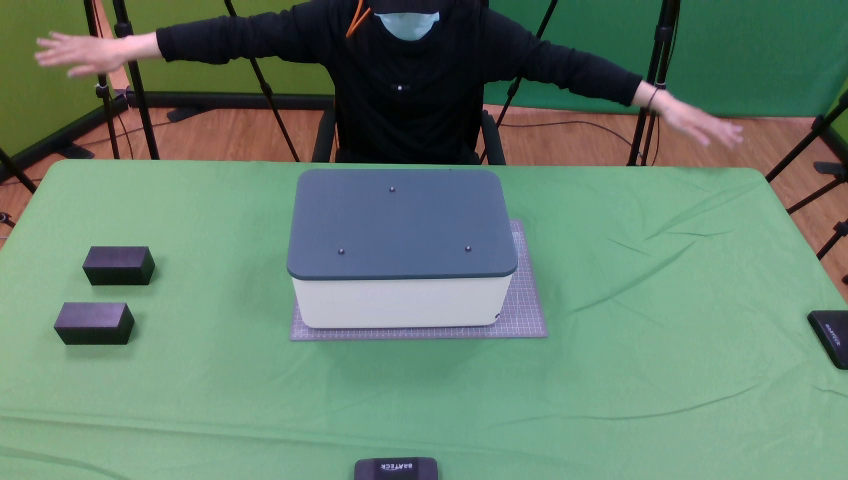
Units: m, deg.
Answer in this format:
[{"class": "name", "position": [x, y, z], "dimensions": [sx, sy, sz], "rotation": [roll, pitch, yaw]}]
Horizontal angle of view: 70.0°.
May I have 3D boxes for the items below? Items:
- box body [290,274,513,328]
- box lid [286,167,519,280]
[{"class": "box body", "position": [-0.040, 0.015, 1.075], "dimensions": [0.364, 0.161, 0.252], "rotation": [-1, 47, -4]}, {"class": "box lid", "position": [-0.035, -0.036, 1.021], "dimensions": [0.372, 0.015, 0.261], "rotation": [-1, 46, -4]}]
